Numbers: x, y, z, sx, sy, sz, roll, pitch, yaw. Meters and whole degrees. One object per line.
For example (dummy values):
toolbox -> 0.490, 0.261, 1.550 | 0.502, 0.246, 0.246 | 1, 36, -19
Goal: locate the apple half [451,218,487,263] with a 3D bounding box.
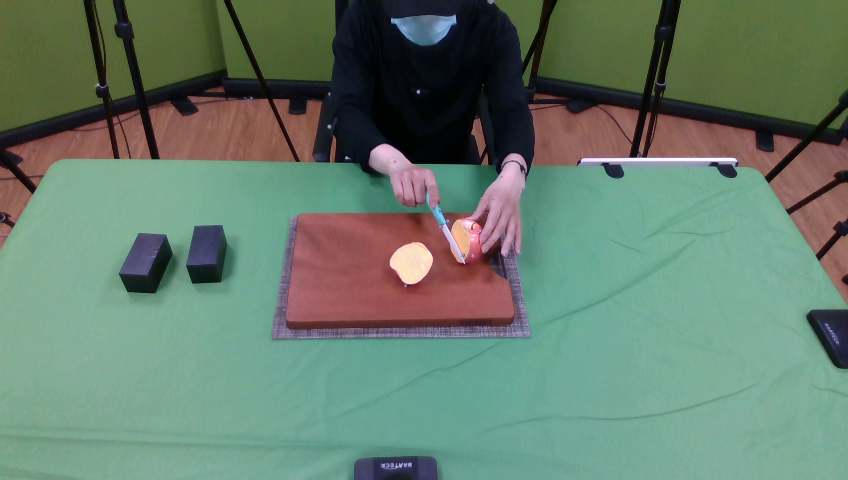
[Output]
apple half -> 0.088, 0.002, 1.123 | 0.053, 0.075, 0.080 | -2, 36, -25

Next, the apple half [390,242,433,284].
apple half -> -0.017, 0.045, 1.096 | 0.081, 0.033, 0.081 | -6, 64, 13

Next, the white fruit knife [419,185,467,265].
white fruit knife -> 0.036, -0.032, 1.146 | 0.016, 0.027, 0.206 | -15, 55, -20
